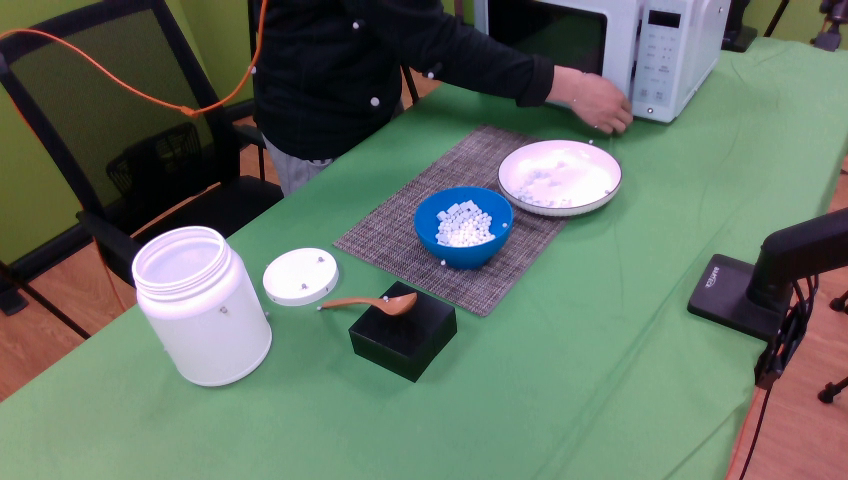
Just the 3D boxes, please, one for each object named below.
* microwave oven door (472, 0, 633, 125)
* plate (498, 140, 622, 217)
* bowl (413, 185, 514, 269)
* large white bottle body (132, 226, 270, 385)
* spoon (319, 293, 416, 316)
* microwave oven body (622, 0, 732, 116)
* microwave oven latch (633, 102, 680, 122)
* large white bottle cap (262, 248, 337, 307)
[{"bbox_3d":[0.244,-0.384,1.188,0.353,0.245,0.039,27,51,34],"label":"microwave oven door"},{"bbox_3d":[0.230,-0.103,1.038,0.209,0.038,0.208,-4,41,4],"label":"plate"},{"bbox_3d":[0.062,-0.009,0.920,0.151,0.077,0.150,-4,40,4],"label":"bowl"},{"bbox_3d":[-0.286,0.085,0.784,0.130,0.185,0.130,-4,41,4],"label":"large white bottle body"},{"bbox_3d":[-0.082,0.086,0.826,0.192,0.022,0.041,-3,37,41],"label":"spoon"},{"bbox_3d":[0.377,-0.463,1.267,0.438,0.261,0.327,21,49,30],"label":"microwave oven body"},{"bbox_3d":[0.443,-0.249,1.157,0.078,0.029,0.030,22,49,30],"label":"microwave oven latch"},{"bbox_3d":[-0.193,0.056,0.934,0.115,0.018,0.114,-5,41,4],"label":"large white bottle cap"}]
